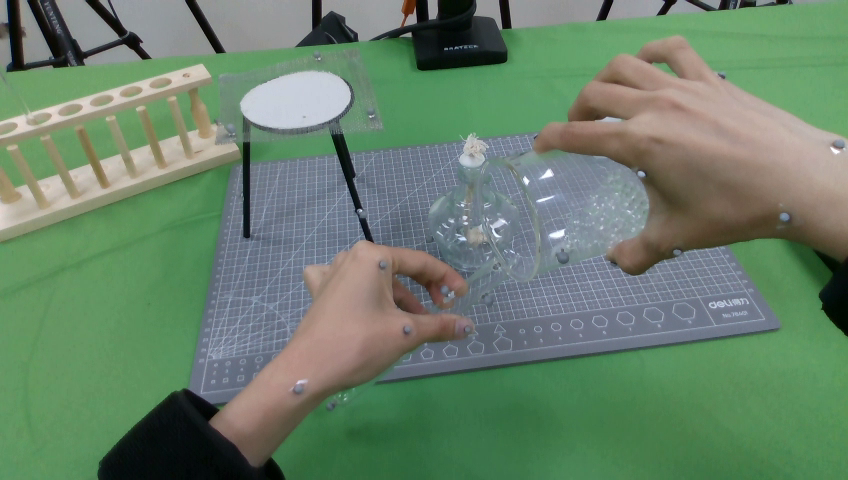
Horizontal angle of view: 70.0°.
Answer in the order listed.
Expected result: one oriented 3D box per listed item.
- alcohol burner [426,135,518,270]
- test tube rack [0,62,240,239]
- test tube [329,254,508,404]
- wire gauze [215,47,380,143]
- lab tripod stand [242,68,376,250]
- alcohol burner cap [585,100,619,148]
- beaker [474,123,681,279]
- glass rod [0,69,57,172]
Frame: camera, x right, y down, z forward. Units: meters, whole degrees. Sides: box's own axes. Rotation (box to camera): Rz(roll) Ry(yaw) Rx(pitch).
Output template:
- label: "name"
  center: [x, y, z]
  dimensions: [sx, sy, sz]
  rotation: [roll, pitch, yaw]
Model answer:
- label: "alcohol burner"
  center: [0.039, -0.034, 0.500]
  dimensions: [0.078, 0.120, 0.077]
  rotation: [-2, 42, 2]
- label: "test tube rack"
  center: [-0.322, -0.095, 0.611]
  dimensions: [0.243, 0.086, 0.066]
  rotation: [-24, 47, -20]
- label: "test tube"
  center: [-0.007, 0.060, 0.392]
  dimensions: [0.150, 0.017, 0.017]
  rotation: [-40, 44, 14]
- label: "wire gauze"
  center: [-0.105, -0.117, 0.484]
  dimensions: [0.125, 0.011, 0.120]
  rotation: [-11, 44, -7]
- label: "lab tripod stand"
  center: [-0.101, -0.068, 0.530]
  dimensions: [0.148, 0.133, 0.147]
  rotation: [-2, 46, 3]
- label: "alcohol burner cap"
  center: [0.188, -0.124, 0.637]
  dimensions: [0.034, 0.048, 0.033]
  rotation: [-2, 44, 2]
- label: "beaker"
  center: [0.090, -0.024, 0.358]
  dimensions: [0.100, 0.084, 0.073]
  rotation: [-16, 50, -15]
- label: "glass rod"
  center: [-0.374, -0.129, 0.553]
  dimensions: [0.008, 0.201, 0.008]
  rotation: [-1, 48, 2]
